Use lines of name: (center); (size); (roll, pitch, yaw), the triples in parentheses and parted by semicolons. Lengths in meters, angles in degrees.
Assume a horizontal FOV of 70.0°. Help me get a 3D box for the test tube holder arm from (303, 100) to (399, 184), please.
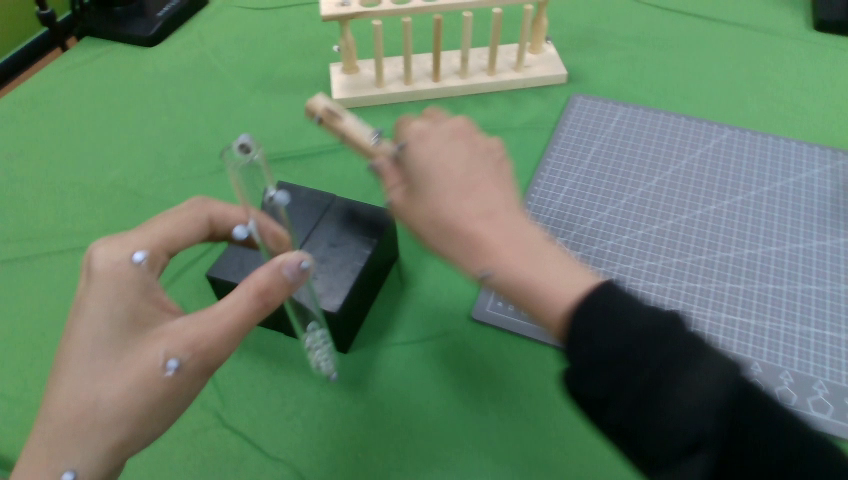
test tube holder arm: (-0.049, -0.068, 0.416); (0.087, 0.015, 0.010); (36, 58, 15)

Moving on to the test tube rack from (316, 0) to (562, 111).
test tube rack: (0.019, -0.198, 0.617); (0.242, 0.086, 0.066); (-8, 49, -5)

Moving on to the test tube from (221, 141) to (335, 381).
test tube: (-0.062, 0.020, 0.278); (0.017, 0.152, 0.017); (-4, 44, 4)

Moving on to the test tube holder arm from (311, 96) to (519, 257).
test tube holder arm: (-0.010, -0.045, 0.407); (0.177, 0.015, 0.013); (36, 57, 14)
